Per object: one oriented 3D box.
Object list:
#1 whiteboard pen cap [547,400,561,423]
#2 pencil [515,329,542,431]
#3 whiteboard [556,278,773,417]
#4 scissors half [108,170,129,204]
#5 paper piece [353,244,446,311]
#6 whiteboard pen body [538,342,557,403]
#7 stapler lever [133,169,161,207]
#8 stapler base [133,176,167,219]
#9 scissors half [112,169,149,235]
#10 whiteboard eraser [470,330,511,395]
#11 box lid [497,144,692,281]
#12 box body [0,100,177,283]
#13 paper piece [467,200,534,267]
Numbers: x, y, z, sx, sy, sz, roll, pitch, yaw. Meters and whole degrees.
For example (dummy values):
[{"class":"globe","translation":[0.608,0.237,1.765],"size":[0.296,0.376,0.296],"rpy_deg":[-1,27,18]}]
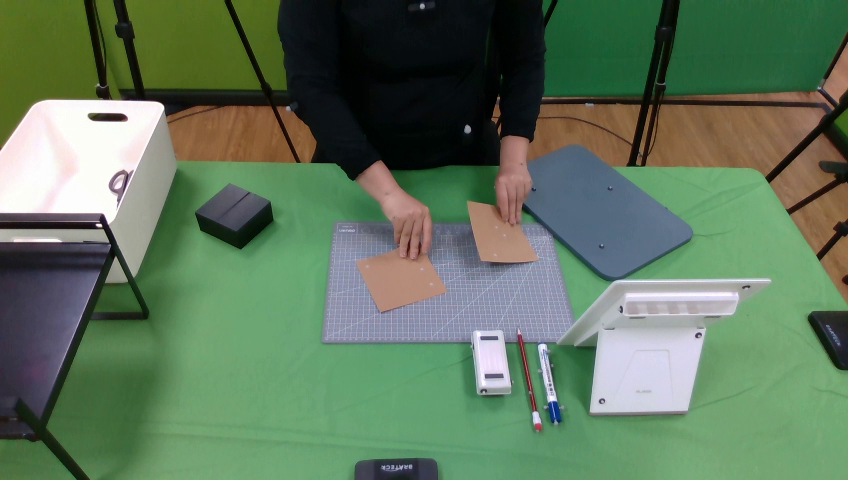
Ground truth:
[{"class":"whiteboard pen cap","translation":[0.205,0.270,0.955],"size":[0.018,0.018,0.033],"rpy_deg":[0,46,-4]},{"class":"pencil","translation":[0.170,0.225,1.002],"size":[0.012,0.012,0.192],"rpy_deg":[-1,46,-6]},{"class":"whiteboard","translation":[0.347,0.174,0.903],"size":[0.217,0.306,0.143],"rpy_deg":[1,65,-4]},{"class":"scissors half","translation":[-0.617,-0.077,1.222],"size":[0.040,0.013,0.174],"rpy_deg":[-15,53,-8]},{"class":"paper piece","translation":[-0.046,0.068,1.136],"size":[0.136,0.009,0.137],"rpy_deg":[-12,46,-22]},{"class":"whiteboard pen body","translation":[0.205,0.229,0.996],"size":[0.017,0.017,0.140],"rpy_deg":[1,46,-3]},{"class":"stapler lever","translation":[-0.557,-0.112,1.218],"size":[0.027,0.040,0.117],"rpy_deg":[2,41,-9]},{"class":"stapler base","translation":[-0.558,-0.092,1.234],"size":[0.041,0.024,0.129],"rpy_deg":[2,41,-9]},{"class":"scissors half","translation":[-0.596,-0.078,1.223],"size":[0.040,0.013,0.174],"rpy_deg":[5,52,2]},{"class":"whiteboard eraser","translation":[0.109,0.203,0.998],"size":[0.055,0.042,0.112],"rpy_deg":[1,46,-5]},{"class":"box lid","translation":[0.360,-0.073,1.304],"size":[0.263,0.015,0.369],"rpy_deg":[-24,52,-25]},{"class":"box body","translation":[-0.639,-0.095,1.140],"size":[0.254,0.161,0.361],"rpy_deg":[1,46,-4]},{"class":"paper piece","translation":[0.150,-0.013,1.195],"size":[0.136,0.004,0.135],"rpy_deg":[10,55,-34]}]
